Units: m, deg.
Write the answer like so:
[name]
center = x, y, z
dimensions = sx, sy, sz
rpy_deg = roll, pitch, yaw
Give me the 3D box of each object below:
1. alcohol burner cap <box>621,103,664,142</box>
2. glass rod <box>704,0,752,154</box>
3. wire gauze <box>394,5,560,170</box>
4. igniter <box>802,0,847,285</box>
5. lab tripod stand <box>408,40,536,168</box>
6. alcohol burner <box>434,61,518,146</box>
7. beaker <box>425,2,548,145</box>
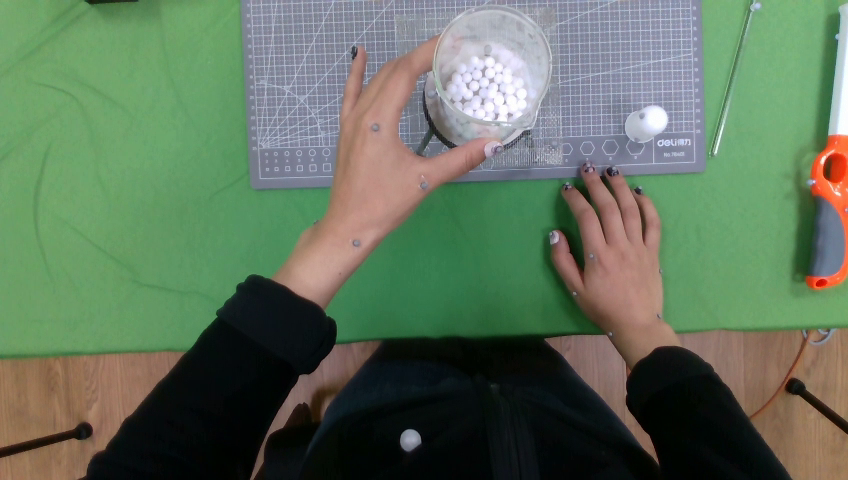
[alcohol burner cap]
center = 0.211, -0.113, 0.579
dimensions = 0.034, 0.048, 0.034
rpy_deg = 0, 90, 2
[glass rod]
center = 0.304, -0.182, 0.595
dimensions = 0.008, 0.008, 0.199
rpy_deg = 15, 92, 0
[wire gauze]
center = 0.041, -0.117, 0.469
dimensions = 0.125, 0.011, 0.121
rpy_deg = -3, 90, 3
[igniter]
center = 0.402, -0.093, 0.587
dimensions = 0.057, 0.025, 0.276
rpy_deg = 5, 92, -10
[lab tripod stand]
center = 0.042, -0.116, 0.534
dimensions = 0.148, 0.131, 0.148
rpy_deg = 0, 91, 2
[alcohol burner]
center = 0.048, -0.126, 0.544
dimensions = 0.078, 0.119, 0.078
rpy_deg = 0, 89, 0
[beaker]
center = 0.043, -0.106, 0.421
dimensions = 0.074, 0.100, 0.084
rpy_deg = -35, 89, 2
